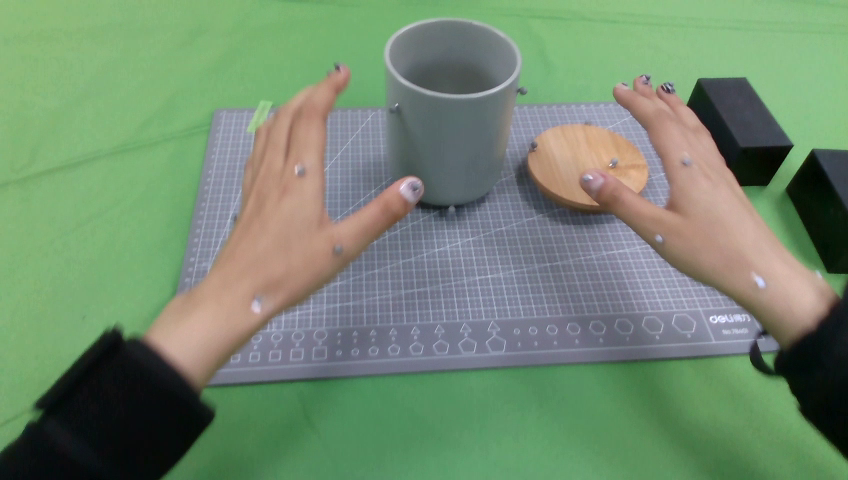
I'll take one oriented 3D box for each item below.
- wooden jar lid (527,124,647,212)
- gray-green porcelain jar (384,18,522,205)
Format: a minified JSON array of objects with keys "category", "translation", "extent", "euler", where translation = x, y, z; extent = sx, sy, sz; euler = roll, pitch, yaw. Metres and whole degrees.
[{"category":"wooden jar lid","translation":[0.147,-0.065,0.555],"extent":[0.108,0.021,0.107],"euler":[1,49,-1]},{"category":"gray-green porcelain jar","translation":[0.020,-0.100,0.507],"extent":[0.106,0.127,0.105],"euler":[2,51,-2]}]
